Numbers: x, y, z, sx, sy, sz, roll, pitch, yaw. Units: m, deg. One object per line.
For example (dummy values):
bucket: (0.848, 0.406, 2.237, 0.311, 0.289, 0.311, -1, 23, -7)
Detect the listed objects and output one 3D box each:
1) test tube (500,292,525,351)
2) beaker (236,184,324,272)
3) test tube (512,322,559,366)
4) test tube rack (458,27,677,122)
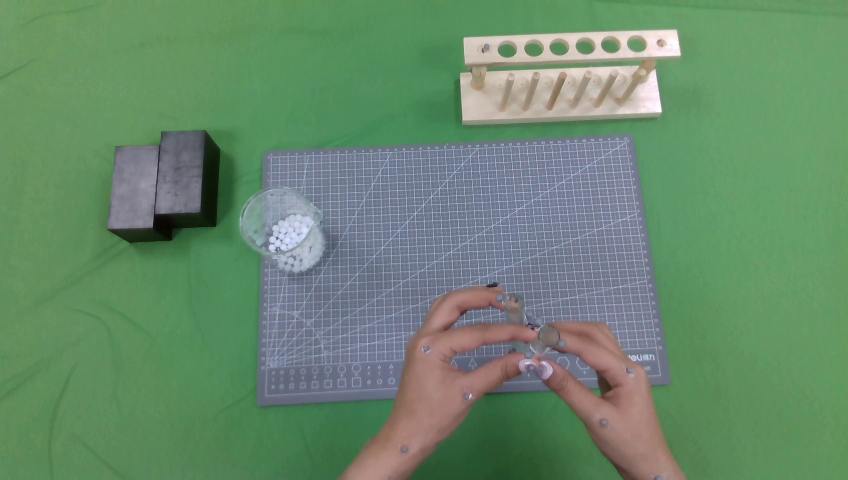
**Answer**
test tube: (0.076, 0.072, 0.510, 0.017, 0.152, 0.017, -3, 68, 9)
beaker: (-0.148, -0.009, 0.656, 0.084, 0.101, 0.073, -10, 75, -3)
test tube: (0.085, 0.085, 0.478, 0.017, 0.151, 0.017, 0, 72, 1)
test tube rack: (0.164, -0.193, 0.717, 0.242, 0.085, 0.066, -2, 74, 0)
